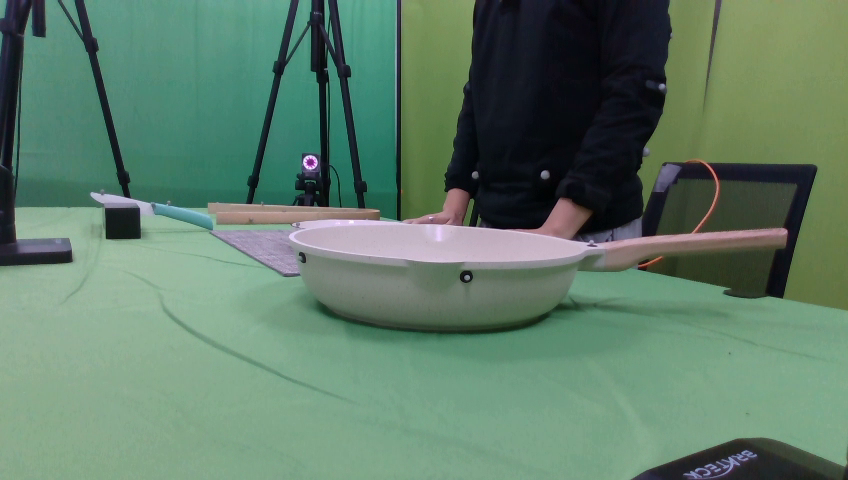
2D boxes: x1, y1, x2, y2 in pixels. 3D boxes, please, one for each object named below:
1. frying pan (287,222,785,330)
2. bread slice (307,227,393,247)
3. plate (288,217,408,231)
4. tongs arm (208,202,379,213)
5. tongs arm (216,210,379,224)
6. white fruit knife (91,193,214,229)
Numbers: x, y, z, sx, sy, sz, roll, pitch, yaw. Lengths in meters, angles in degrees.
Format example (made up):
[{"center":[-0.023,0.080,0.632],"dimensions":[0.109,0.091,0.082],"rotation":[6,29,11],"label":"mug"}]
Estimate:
[{"center":[0.114,0.016,0.606],"dimensions":[0.488,0.102,0.307],"rotation":[-6,7,3],"label":"frying pan"},{"center":[-0.115,-0.005,0.950],"dimensions":[0.134,0.018,0.107],"rotation":[3,6,-7],"label":"bread slice"},{"center":[-0.109,-0.007,0.956],"dimensions":[0.208,0.039,0.207],"rotation":[2,7,0],"label":"plate"},{"center":[-0.296,-0.067,1.406],"dimensions":[0.386,0.026,0.050],"rotation":[1,8,-22],"label":"tongs arm"},{"center":[-0.262,-0.053,1.335],"dimensions":[0.390,0.028,0.028],"rotation":[-2,6,-34],"label":"tongs arm"},{"center":[-0.478,-0.055,1.078],"dimensions":[0.208,0.027,0.016],"rotation":[14,1,-30],"label":"white fruit knife"}]
